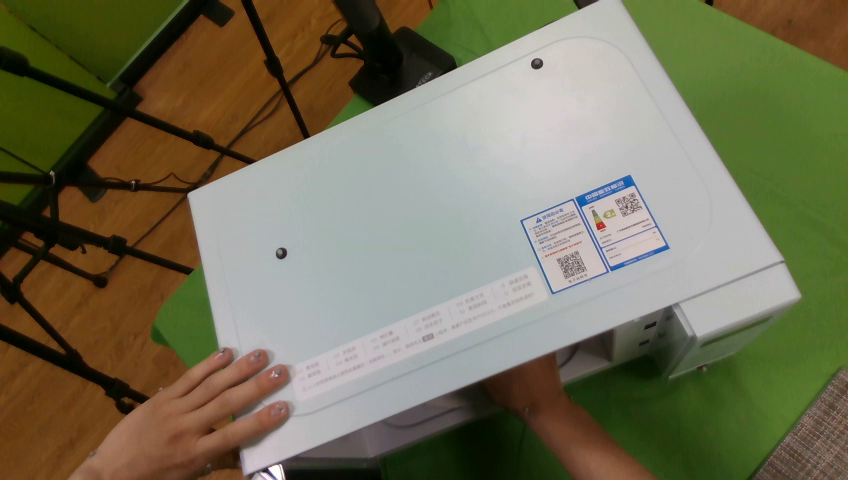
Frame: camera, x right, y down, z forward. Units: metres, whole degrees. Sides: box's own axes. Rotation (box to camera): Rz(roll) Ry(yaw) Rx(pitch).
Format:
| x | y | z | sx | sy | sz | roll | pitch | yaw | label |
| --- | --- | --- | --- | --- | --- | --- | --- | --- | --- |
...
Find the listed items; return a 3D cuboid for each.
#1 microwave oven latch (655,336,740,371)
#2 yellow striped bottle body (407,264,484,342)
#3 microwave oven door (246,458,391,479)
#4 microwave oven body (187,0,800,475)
| x | y | z | sx | sy | sz | roll | pitch | yaw | label |
| --- | --- | --- | --- | --- | --- | --- | --- | --- | --- |
| 0.281 | 0.108 | 0.622 | 0.079 | 0.030 | 0.030 | -22 | 67 | 8 | microwave oven latch |
| 0.022 | 0.064 | 0.614 | 0.062 | 0.121 | 0.062 | -4 | 71 | 13 | yellow striped bottle body |
| 0.031 | 0.305 | 0.511 | 0.353 | 0.246 | 0.039 | 30 | 81 | 23 | microwave oven door |
| 0.046 | 0.021 | 0.613 | 0.441 | 0.262 | 0.323 | -24 | 67 | 8 | microwave oven body |
